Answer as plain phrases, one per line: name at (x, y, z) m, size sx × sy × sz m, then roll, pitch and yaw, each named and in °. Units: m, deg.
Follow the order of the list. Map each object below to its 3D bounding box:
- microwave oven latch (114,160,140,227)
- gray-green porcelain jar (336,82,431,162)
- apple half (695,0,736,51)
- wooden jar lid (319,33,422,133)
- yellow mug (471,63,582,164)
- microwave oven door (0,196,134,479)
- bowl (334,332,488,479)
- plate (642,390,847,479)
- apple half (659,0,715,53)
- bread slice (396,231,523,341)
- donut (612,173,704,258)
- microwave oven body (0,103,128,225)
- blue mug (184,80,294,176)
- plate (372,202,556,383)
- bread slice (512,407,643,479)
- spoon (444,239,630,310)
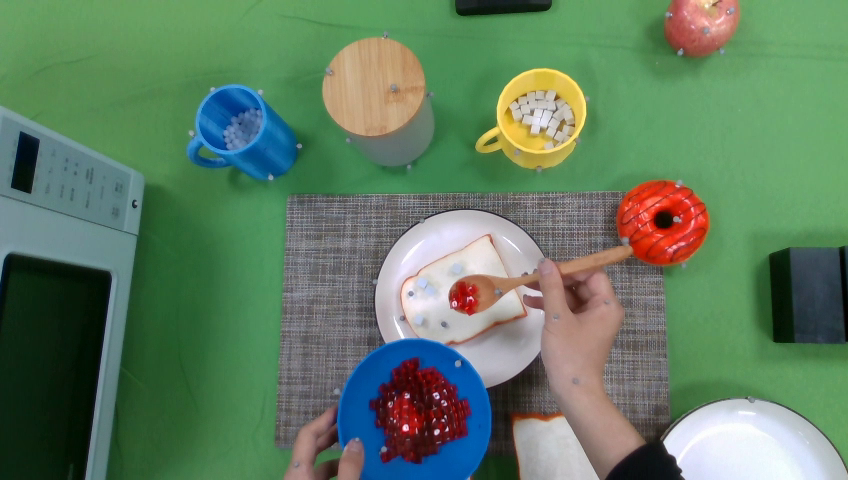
microwave oven latch at (-0.370, -0.057, 0.742) m, size 0.030 × 0.029 × 0.079 m, roll 5°, pitch 83°, yaw 6°
gray-green porcelain jar at (-0.048, -0.152, 0.695) m, size 0.106 × 0.127 × 0.105 m, roll -1°, pitch 81°, yaw 6°
apple half at (0.324, -0.264, 0.697) m, size 0.053 × 0.075 × 0.080 m, roll -32°, pitch 76°, yaw -5°
wooden jar lid at (-0.055, -0.162, 0.634) m, size 0.108 × 0.021 × 0.108 m, roll -1°, pitch 80°, yaw 7°
yellow mug at (0.115, -0.139, 0.706) m, size 0.131 × 0.064 × 0.099 m, roll -24°, pitch 80°, yaw 3°
microwave oven door at (-0.399, 0.145, 0.614) m, size 0.039 × 0.245 × 0.354 m, roll 3°, pitch 82°, yaw 7°
bowl at (-0.017, 0.174, 0.612) m, size 0.152 × 0.077 × 0.150 m, roll 3°, pitch 73°, yaw -10°
plate at (0.333, 0.262, 0.640) m, size 0.209 × 0.038 × 0.208 m, roll -1°, pitch 82°, yaw 7°
apple half at (0.292, -0.243, 0.696) m, size 0.033 × 0.081 × 0.081 m, roll -33°, pitch 79°, yaw -4°
bread slice at (0.035, 0.062, 0.699) m, size 0.131 × 0.019 × 0.104 m, roll -26°, pitch 79°, yaw 0°
donut at (0.261, -0.028, 0.681) m, size 0.099 × 0.048 × 0.099 m, roll -1°, pitch 83°, yaw 6°
microwave oven body at (-0.540, 0.096, 0.641) m, size 0.326 × 0.261 × 0.440 m, roll 3°, pitch 83°, yaw 6°
blue mug at (-0.226, -0.122, 0.720) m, size 0.116 × 0.106 × 0.082 m, roll -26°, pitch 79°, yaw 2°
plate at (0.045, 0.061, 0.696) m, size 0.207 × 0.039 × 0.207 m, roll -1°, pitch 82°, yaw 6°
bread slice at (0.166, 0.233, 0.636) m, size 0.135 × 0.018 × 0.106 m, roll -5°, pitch 78°, yaw -15°
spoon at (0.104, 0.032, 0.588) m, size 0.193 × 0.022 × 0.041 m, roll -18°, pitch 84°, yaw 33°
